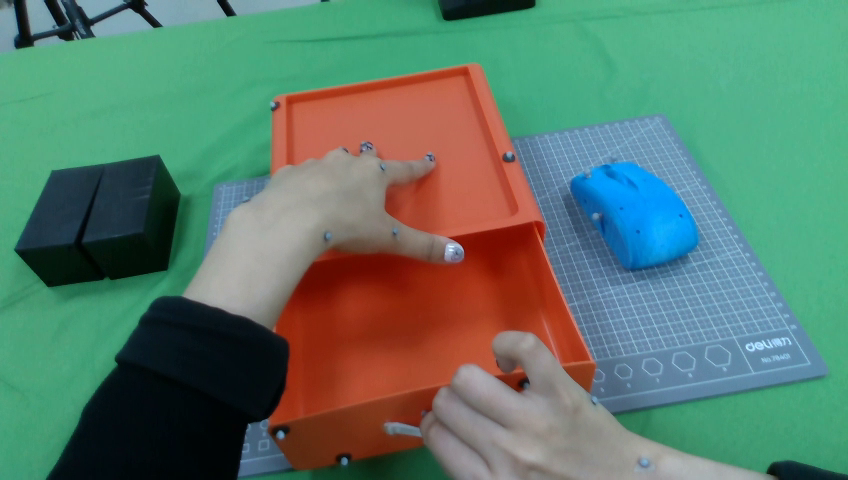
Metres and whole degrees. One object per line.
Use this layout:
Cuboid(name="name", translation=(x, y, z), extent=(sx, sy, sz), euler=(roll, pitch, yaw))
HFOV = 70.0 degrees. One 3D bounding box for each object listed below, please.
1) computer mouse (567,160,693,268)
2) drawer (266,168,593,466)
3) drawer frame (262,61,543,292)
Cuboid(name="computer mouse", translation=(0.169, -0.029, 0.504), extent=(0.063, 0.041, 0.116), euler=(-17, 45, -5))
Cuboid(name="drawer", translation=(-0.008, 0.037, 0.438), extent=(0.194, 0.074, 0.209), euler=(-11, 48, -2))
Cuboid(name="drawer frame", translation=(-0.027, -0.048, 0.513), extent=(0.202, 0.083, 0.211), euler=(-11, 48, -2))
